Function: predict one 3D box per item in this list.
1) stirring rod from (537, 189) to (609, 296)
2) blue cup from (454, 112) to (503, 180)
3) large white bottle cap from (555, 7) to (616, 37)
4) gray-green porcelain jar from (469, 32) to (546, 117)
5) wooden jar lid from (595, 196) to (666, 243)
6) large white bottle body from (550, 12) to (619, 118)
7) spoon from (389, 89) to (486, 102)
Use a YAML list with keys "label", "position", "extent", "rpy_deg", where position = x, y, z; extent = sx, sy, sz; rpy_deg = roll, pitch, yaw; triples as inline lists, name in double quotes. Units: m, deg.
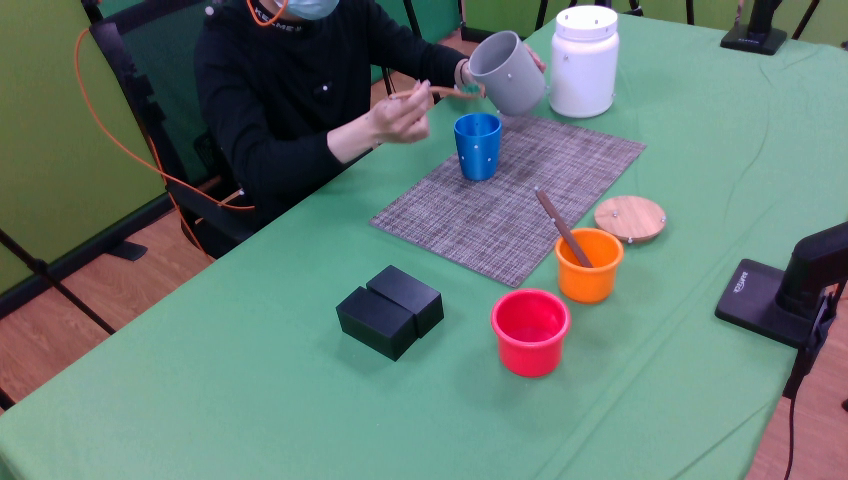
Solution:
- label: "stirring rod"
  position: [0.210, 0.003, 0.855]
  extent: [0.014, 0.006, 0.176]
  rpy_deg: [-32, 89, -30]
- label: "blue cup"
  position: [0.098, -0.165, 1.088]
  extent: [0.092, 0.100, 0.092]
  rpy_deg: [-3, 40, 3]
- label: "large white bottle cap"
  position: [0.311, -0.420, 1.163]
  extent: [0.115, 0.018, 0.114]
  rpy_deg: [-4, 40, 4]
- label: "gray-green porcelain jar"
  position: [0.160, -0.302, 1.124]
  extent: [0.105, 0.127, 0.105]
  rpy_deg: [-23, 46, 26]
- label: "wooden jar lid"
  position: [0.329, -0.032, 0.967]
  extent: [0.108, 0.021, 0.108]
  rpy_deg: [-4, 41, 4]
- label: "large white bottle body"
  position: [0.321, -0.356, 1.218]
  extent: [0.130, 0.185, 0.130]
  rpy_deg: [-4, 41, 4]
- label: "spoon"
  position: [0.024, -0.239, 0.993]
  extent: [0.195, 0.021, 0.041]
  rpy_deg: [-9, 35, -36]
